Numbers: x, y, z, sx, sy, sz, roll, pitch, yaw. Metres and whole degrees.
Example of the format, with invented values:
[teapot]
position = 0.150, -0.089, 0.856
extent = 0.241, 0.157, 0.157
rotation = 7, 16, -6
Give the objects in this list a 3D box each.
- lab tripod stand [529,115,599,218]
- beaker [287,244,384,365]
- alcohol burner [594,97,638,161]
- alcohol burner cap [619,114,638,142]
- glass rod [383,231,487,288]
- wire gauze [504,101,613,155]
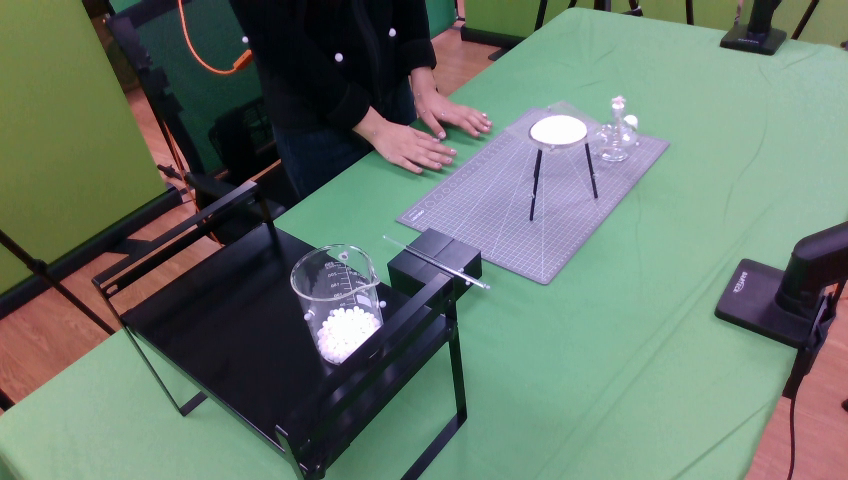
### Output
[lab tripod stand]
position = 0.217, -0.123, 0.995
extent = 0.148, 0.132, 0.147
rotation = -4, 42, 4
[beaker]
position = -0.076, 0.065, 0.574
extent = 0.083, 0.101, 0.074
rotation = 7, 44, 15
[alcohol burner]
position = 0.345, -0.203, 1.083
extent = 0.078, 0.119, 0.077
rotation = -5, 42, 5
[alcohol burner cap]
position = 0.388, -0.214, 1.144
extent = 0.034, 0.048, 0.033
rotation = -2, 39, 2
[glass rod]
position = 0.011, 0.027, 0.879
extent = 0.198, 0.008, 0.008
rotation = 27, 51, 34
[wire gauze]
position = 0.211, -0.176, 0.955
extent = 0.125, 0.011, 0.120
rotation = -24, 44, -18
